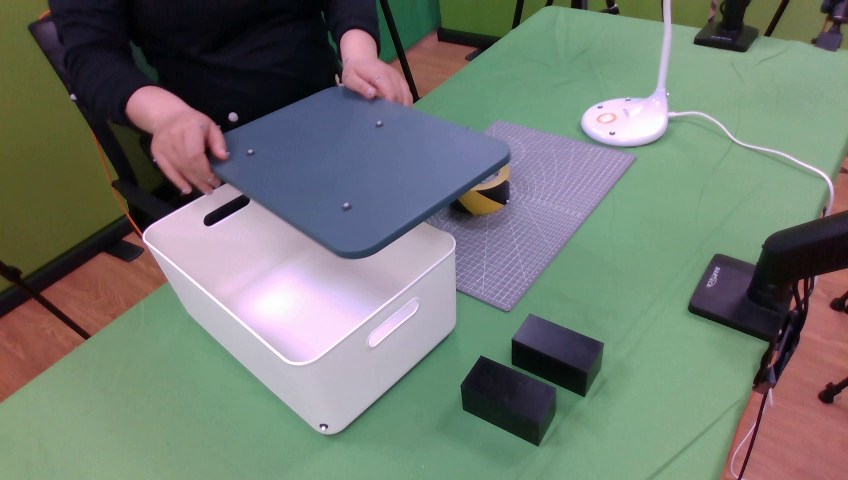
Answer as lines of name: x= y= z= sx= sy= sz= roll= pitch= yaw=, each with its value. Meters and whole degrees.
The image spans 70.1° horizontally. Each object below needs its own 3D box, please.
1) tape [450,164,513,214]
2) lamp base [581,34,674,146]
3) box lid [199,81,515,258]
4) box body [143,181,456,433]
tape: x=0.095 y=-0.099 z=1.042 sx=0.117 sy=0.053 sz=0.116 roll=-4 pitch=41 yaw=4
lamp base: x=0.392 y=-0.291 z=1.129 sx=0.180 sy=0.181 sz=0.159 roll=-11 pitch=41 yaw=-8
box lid: x=-0.096 y=-0.112 z=0.770 sx=0.264 sy=0.015 sz=0.368 roll=-35 pitch=45 yaw=-29
box body: x=-0.158 y=0.054 z=0.819 sx=0.361 sy=0.161 sz=0.255 roll=29 pitch=52 yaw=34
